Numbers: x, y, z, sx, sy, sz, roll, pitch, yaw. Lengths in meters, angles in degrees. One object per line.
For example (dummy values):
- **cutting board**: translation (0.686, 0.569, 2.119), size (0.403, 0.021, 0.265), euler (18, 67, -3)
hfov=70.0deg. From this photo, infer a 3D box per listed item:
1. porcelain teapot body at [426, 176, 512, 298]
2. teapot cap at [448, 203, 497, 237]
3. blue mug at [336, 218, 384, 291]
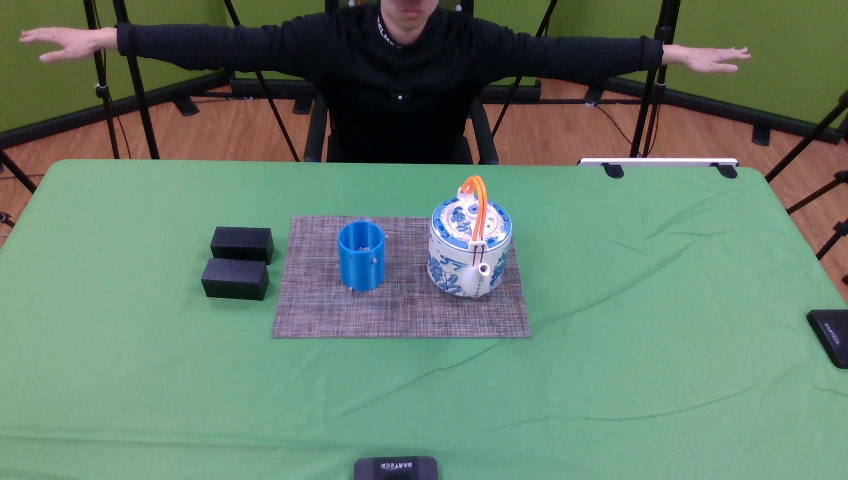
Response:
- **porcelain teapot body**: translation (0.085, 0.009, 1.051), size (0.145, 0.226, 0.204), euler (-5, 47, -9)
- **teapot cap**: translation (0.084, -0.038, 1.041), size (0.085, 0.044, 0.084), euler (0, 48, 0)
- **blue mug**: translation (-0.115, 0.018, 1.110), size (0.082, 0.106, 0.116), euler (1, 46, -4)
